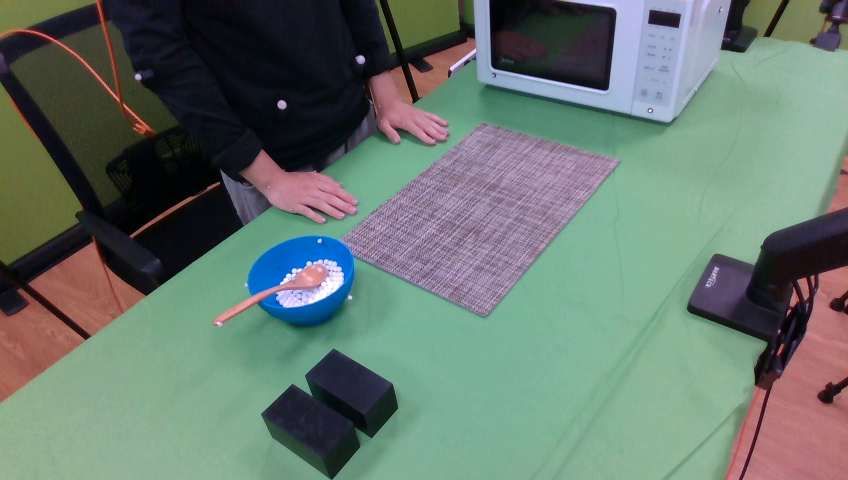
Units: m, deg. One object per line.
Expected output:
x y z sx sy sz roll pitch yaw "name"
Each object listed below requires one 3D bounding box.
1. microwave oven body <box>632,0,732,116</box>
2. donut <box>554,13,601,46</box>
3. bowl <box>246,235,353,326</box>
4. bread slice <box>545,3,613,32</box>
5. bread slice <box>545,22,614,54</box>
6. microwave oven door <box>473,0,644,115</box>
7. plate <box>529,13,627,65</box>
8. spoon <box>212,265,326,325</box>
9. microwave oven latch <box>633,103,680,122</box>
0.377 -0.462 1.267 0.438 0.261 0.327 21 48 30 "microwave oven body"
0.328 -0.452 1.296 0.099 0.048 0.098 -5 46 6 "donut"
-0.170 0.070 0.868 0.151 0.077 0.150 -4 41 4 "bowl"
0.331 -0.474 1.281 0.131 0.019 0.104 -10 38 0 "bread slice"
0.340 -0.440 1.310 0.135 0.018 0.106 -11 48 -10 "bread slice"
0.257 -0.396 1.199 0.353 0.245 0.039 21 48 29 "microwave oven door"
0.333 -0.433 1.317 0.207 0.039 0.206 -5 42 5 "plate"
-0.208 0.072 0.822 0.041 0.021 0.195 26 29 27 "spoon"
0.443 -0.249 1.157 0.078 0.029 0.030 20 48 30 "microwave oven latch"
